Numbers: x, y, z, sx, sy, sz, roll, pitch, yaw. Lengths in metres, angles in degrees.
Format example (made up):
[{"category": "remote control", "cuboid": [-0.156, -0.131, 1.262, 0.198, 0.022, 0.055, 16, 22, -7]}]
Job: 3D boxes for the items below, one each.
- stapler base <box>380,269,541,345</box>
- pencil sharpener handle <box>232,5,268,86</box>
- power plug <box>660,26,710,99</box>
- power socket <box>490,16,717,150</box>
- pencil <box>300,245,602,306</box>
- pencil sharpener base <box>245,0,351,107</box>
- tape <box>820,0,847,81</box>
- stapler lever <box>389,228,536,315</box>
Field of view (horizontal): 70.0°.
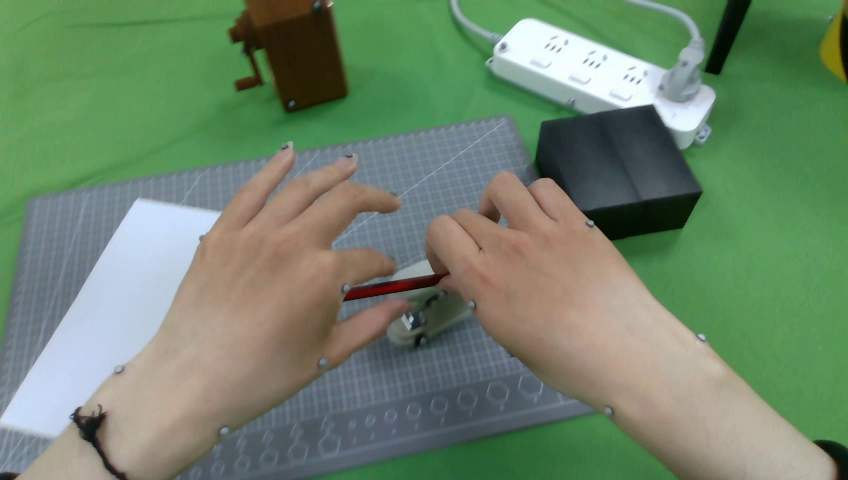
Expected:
[{"category": "stapler base", "cuboid": [0.028, 0.035, 0.468, 0.131, 0.024, 0.041, -25, 60, -16]}, {"category": "pencil sharpener handle", "cuboid": [-0.164, -0.175, 0.551, 0.031, 0.068, 0.035, -21, 35, -11]}, {"category": "power plug", "cuboid": [0.248, -0.155, 0.559, 0.072, 0.053, 0.035, -40, 63, -21]}, {"category": "power socket", "cuboid": [0.172, -0.157, 0.591, 0.225, 0.033, 0.072, 30, 61, 21]}, {"category": "pencil", "cuboid": [0.021, 0.023, 0.375, 0.194, 0.012, 0.012, -9, 56, -13]}, {"category": "pencil sharpener base", "cuboid": [-0.119, -0.189, 0.576, 0.077, 0.108, 0.060, -21, 58, -11]}, {"category": "tape", "cuboid": [0.467, -0.201, 0.601, 0.117, 0.053, 0.116, -1, 57, 1]}, {"category": "stapler lever", "cuboid": [0.029, 0.020, 0.448, 0.118, 0.040, 0.026, -25, 60, -16]}]
